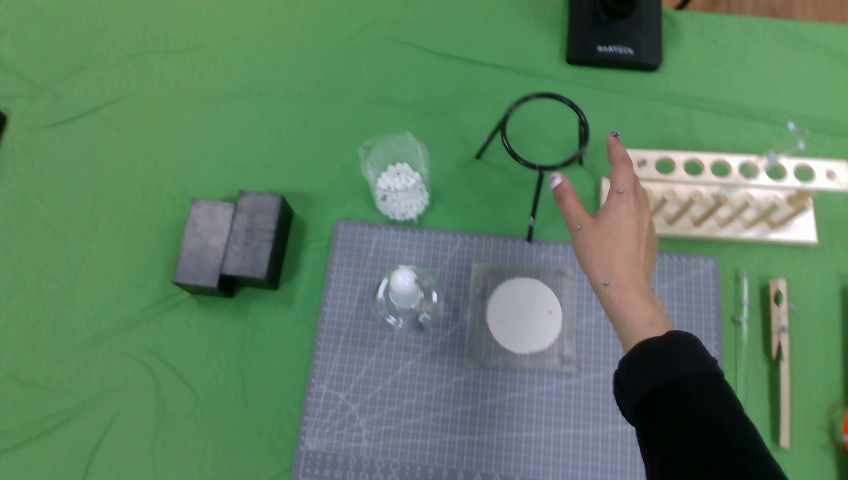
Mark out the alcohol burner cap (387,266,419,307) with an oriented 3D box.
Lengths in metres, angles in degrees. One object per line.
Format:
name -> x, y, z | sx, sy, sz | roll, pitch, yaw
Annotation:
alcohol burner cap -> -0.021, 0.044, 0.605 | 0.034, 0.048, 0.033 | 1, 63, -1

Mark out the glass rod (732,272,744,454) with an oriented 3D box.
glass rod -> 0.345, 0.131, 0.663 | 0.008, 0.008, 0.198 | 9, 75, 4

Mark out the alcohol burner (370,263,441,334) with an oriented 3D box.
alcohol burner -> -0.021, 0.057, 0.639 | 0.078, 0.120, 0.077 | -1, 70, 3

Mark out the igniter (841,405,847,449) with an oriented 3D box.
igniter -> 0.467, 0.171, 0.637 | 0.057, 0.025, 0.275 | 13, 73, -4

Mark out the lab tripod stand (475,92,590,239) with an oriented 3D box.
lab tripod stand -> 0.121, -0.091, 0.675 | 0.148, 0.132, 0.147 | -1, 71, 3

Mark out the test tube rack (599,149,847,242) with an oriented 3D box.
test tube rack -> 0.329, -0.048, 0.681 | 0.242, 0.086, 0.066 | 3, 72, 3

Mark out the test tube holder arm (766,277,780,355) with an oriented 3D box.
test tube holder arm -> 0.389, 0.084, 0.673 | 0.010, 0.015, 0.087 | -7, 68, 37

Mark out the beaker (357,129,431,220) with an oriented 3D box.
beaker -> -0.032, -0.071, 0.691 | 0.084, 0.101, 0.073 | 23, 74, 10

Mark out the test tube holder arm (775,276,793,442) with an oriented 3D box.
test tube holder arm -> 0.389, 0.126, 0.656 | 0.013, 0.015, 0.177 | -8, 67, 37

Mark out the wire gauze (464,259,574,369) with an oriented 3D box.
wire gauze -> 0.108, 0.083, 0.683 | 0.121, 0.011, 0.124 | 3, 76, 2

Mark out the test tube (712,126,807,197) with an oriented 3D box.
test tube -> 0.348, -0.077, 0.638 | 0.017, 0.151, 0.017 | 1, 72, -4
